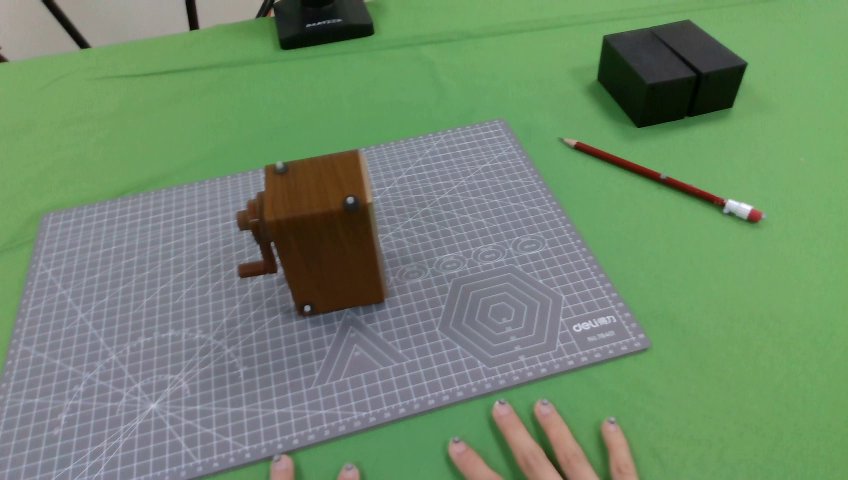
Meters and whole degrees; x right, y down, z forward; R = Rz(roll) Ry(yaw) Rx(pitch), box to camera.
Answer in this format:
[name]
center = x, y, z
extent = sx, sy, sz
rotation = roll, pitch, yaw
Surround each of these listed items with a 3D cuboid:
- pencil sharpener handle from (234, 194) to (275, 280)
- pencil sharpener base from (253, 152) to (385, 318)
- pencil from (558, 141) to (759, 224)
[pencil sharpener handle]
center = -0.125, 0.001, 0.427
extent = 0.031, 0.068, 0.035
rotation = -11, 39, -5
[pencil sharpener base]
center = -0.074, 0.000, 0.442
extent = 0.077, 0.108, 0.060
rotation = -11, 46, -5
[pencil]
center = 0.204, -0.057, 0.550
extent = 0.192, 0.012, 0.012
rotation = 30, 55, 31
